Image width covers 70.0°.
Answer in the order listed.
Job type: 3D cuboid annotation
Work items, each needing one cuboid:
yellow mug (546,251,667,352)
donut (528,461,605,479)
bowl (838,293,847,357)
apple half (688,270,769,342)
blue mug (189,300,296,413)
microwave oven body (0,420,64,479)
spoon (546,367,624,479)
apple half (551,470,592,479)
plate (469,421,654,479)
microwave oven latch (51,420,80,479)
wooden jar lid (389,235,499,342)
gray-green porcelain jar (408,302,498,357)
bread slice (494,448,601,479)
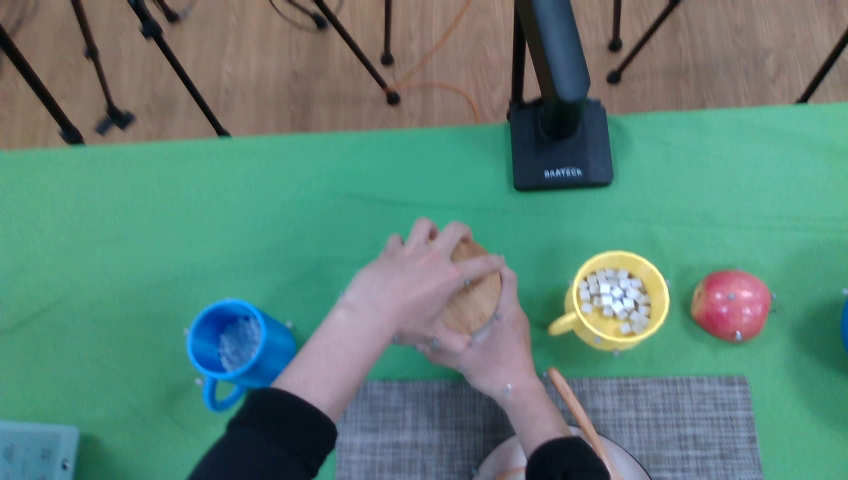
[{"bbox_3d":[0.194,0.076,0.668,0.131,0.064,0.099,-25,71,-2],"label":"yellow mug"},{"bbox_3d":[0.140,0.268,0.590,0.099,0.048,0.098,-2,71,6],"label":"donut"},{"bbox_3d":[0.497,0.099,0.625,0.151,0.077,0.150,-2,72,5],"label":"bowl"},{"bbox_3d":[0.337,0.067,0.664,0.074,0.054,0.080,19,75,14],"label":"apple half"},{"bbox_3d":[-0.202,0.133,0.665,0.082,0.106,0.116,18,74,11],"label":"blue mug"},{"bbox_3d":[-0.558,0.382,0.530,0.326,0.262,0.439,-2,72,5],"label":"microwave oven body"},{"bbox_3d":[0.179,0.216,0.617,0.041,0.022,0.193,-27,80,-6],"label":"spoon"},{"bbox_3d":[0.134,0.256,0.558,0.081,0.033,0.081,-4,70,11],"label":"apple half"},{"bbox_3d":[0.139,0.291,0.613,0.207,0.039,0.206,-2,72,5],"label":"plate"},{"bbox_3d":[-0.404,0.240,0.664,0.030,0.030,0.078,4,73,6],"label":"microwave oven latch"},{"bbox_3d":[0.020,0.048,0.596,0.108,0.021,0.107,-2,69,6],"label":"wooden jar lid"},{"bbox_3d":[0.027,0.068,0.654,0.106,0.127,0.105,-2,71,5],"label":"gray-green porcelain jar"},{"bbox_3d":[0.144,0.289,0.613,0.107,0.018,0.133,-19,72,0],"label":"bread slice"}]
